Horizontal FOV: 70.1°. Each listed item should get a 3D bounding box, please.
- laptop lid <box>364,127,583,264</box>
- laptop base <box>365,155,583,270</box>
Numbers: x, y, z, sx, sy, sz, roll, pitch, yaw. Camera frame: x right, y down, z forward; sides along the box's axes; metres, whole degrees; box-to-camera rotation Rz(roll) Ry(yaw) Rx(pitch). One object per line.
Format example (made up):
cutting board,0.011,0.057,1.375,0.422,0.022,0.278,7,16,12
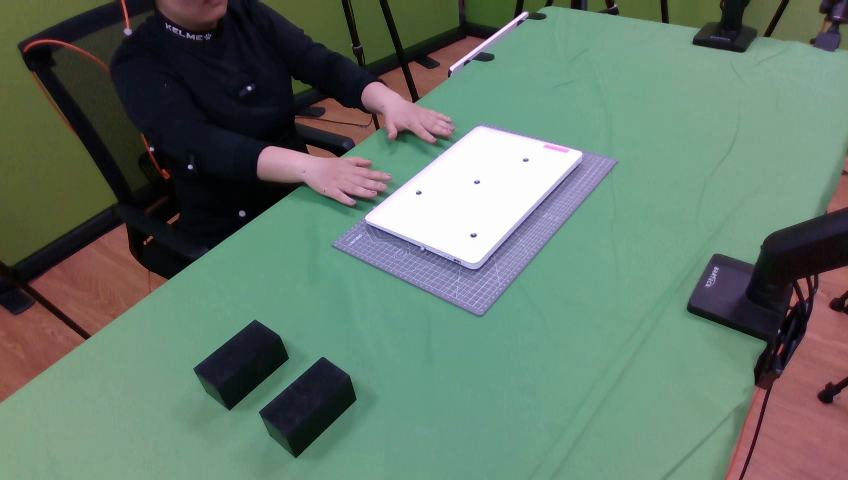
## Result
laptop lid,0.092,-0.096,1.053,0.239,0.013,0.358,23,48,34
laptop base,0.095,-0.086,1.059,0.233,0.023,0.355,20,47,33
